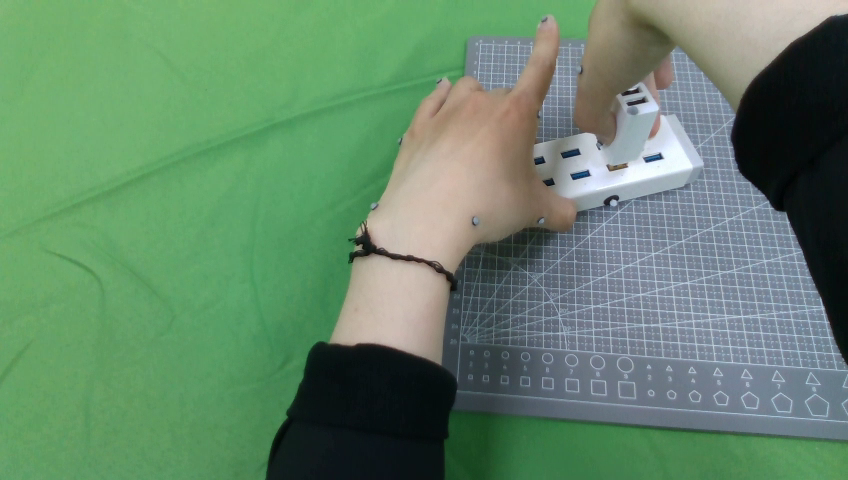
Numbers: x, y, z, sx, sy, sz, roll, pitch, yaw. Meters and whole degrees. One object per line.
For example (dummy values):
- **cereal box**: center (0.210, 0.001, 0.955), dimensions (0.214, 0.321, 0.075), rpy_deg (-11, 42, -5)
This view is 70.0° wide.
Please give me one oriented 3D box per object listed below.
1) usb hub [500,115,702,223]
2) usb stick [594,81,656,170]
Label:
- **usb hub**: center (0.118, -0.050, 0.410), dimensions (0.125, 0.025, 0.049), rpy_deg (-12, 62, -6)
- **usb stick**: center (0.124, -0.068, 0.381), dimensions (0.021, 0.059, 0.027), rpy_deg (-14, 58, -7)
